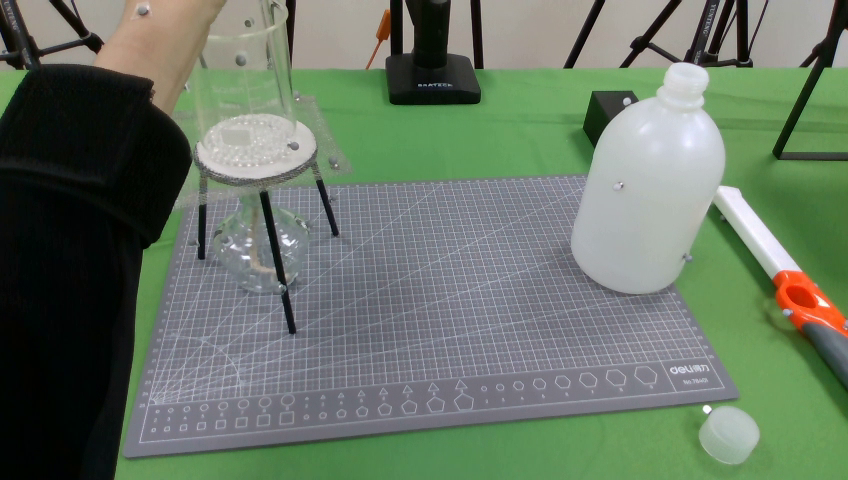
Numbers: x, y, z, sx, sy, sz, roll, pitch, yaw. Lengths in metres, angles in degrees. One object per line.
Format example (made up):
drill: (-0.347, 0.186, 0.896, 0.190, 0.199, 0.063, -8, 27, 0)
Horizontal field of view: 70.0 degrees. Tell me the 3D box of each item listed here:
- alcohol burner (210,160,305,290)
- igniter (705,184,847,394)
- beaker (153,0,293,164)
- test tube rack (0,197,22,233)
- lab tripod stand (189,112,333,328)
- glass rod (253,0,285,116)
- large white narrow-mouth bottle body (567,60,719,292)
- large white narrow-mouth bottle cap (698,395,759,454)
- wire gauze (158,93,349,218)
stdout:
alcohol burner: (-0.139, -0.016, 0.501, 0.078, 0.120, 0.077, 4, 40, -3)
igniter: (0.328, 0.038, 0.548, 0.057, 0.025, 0.273, 6, 41, -14)
beaker: (-0.133, -0.110, 0.420, 0.084, 0.101, 0.073, -8, 45, -13)
test tube rack: (-0.481, -0.005, 0.487, 0.066, 0.086, 0.242, 32, 49, 28)
lab tripod stand: (-0.129, -0.022, 0.494, 0.148, 0.132, 0.147, 4, 43, -3)
glass rod: (-0.108, -0.171, 0.377, 0.008, 0.201, 0.008, -2, 36, 2)
large white narrow-mouth bottle body: (0.187, -0.054, 0.509, 0.102, 0.196, 0.101, 2, 42, -1)
large white narrow-mouth bottle cap: (0.220, 0.133, 0.438, 0.038, 0.024, 0.037, 2, 42, -1)
wire gauze: (-0.130, -0.072, 0.452, 0.122, 0.011, 0.123, -14, 49, -16)
